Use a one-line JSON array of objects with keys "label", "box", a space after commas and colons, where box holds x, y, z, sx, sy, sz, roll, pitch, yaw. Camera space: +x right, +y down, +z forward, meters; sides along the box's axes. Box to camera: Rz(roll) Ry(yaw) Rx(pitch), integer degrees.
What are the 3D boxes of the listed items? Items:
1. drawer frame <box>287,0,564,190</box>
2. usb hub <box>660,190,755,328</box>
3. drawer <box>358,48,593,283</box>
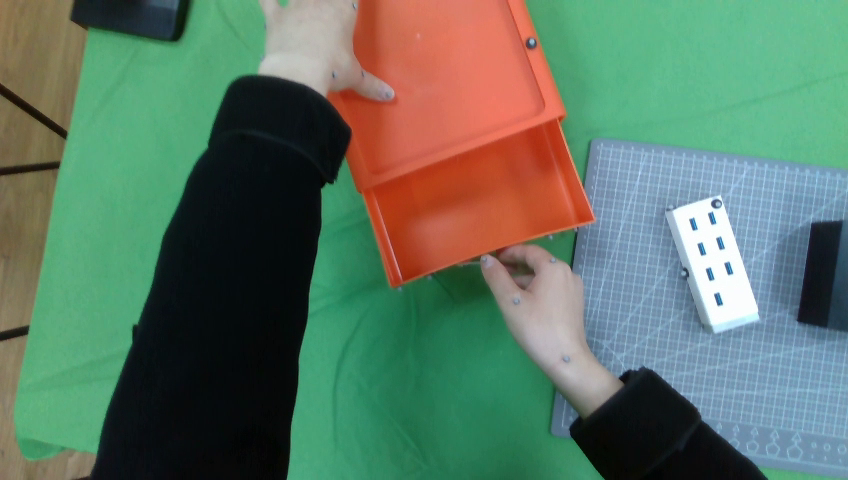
[{"label": "drawer frame", "box": [-0.004, -0.176, 0.569, 0.201, 0.083, 0.213, -21, 88, 3]}, {"label": "usb hub", "box": [0.273, 0.018, 0.583, 0.049, 0.025, 0.125, -18, 90, 1]}, {"label": "drawer", "box": [0.029, -0.087, 0.570, 0.194, 0.073, 0.211, -18, 89, 3]}]
